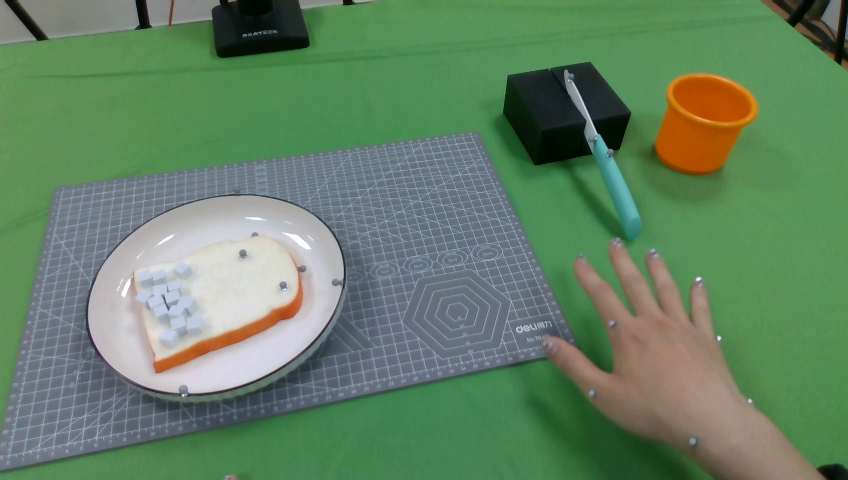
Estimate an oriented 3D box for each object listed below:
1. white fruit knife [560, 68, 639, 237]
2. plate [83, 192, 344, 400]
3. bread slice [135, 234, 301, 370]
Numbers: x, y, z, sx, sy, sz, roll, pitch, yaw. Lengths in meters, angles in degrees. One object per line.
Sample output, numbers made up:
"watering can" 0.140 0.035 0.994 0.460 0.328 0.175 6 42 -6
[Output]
"white fruit knife" 0.176 -0.098 0.624 0.016 0.027 0.205 -11 65 -11
"plate" -0.171 0.044 0.513 0.209 0.038 0.207 1 49 -1
"bread slice" -0.174 0.042 0.519 0.132 0.019 0.103 -22 54 -18
